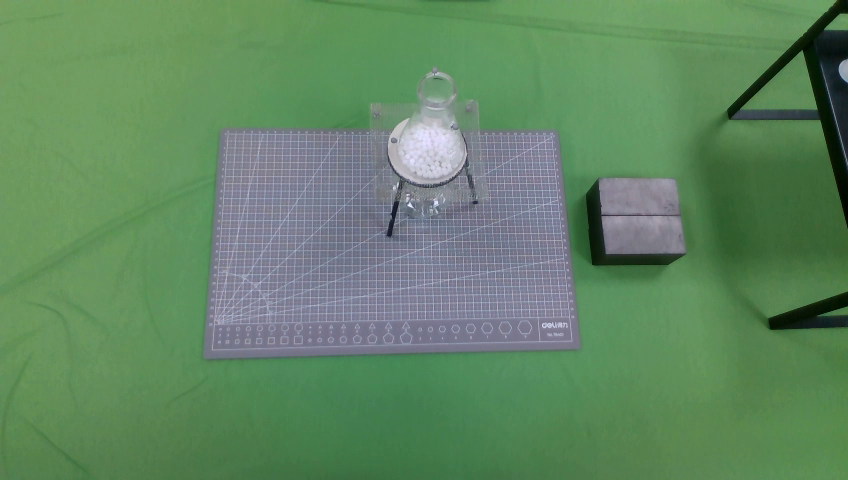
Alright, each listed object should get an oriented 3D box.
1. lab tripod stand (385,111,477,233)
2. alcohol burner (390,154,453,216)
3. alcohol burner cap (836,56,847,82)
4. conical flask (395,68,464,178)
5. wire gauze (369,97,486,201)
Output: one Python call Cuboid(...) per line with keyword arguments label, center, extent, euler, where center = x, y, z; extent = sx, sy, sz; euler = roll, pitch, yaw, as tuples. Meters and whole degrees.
Cuboid(label="lab tripod stand", center=(-0.003, -0.085, 0.723), extent=(0.148, 0.132, 0.147), euler=(1, 73, -2))
Cuboid(label="alcohol burner", center=(-0.003, -0.073, 0.730), extent=(0.078, 0.119, 0.077), euler=(1, 73, -2))
Cuboid(label="alcohol burner cap", center=(0.478, -0.196, 0.655), extent=(0.034, 0.048, 0.033), euler=(1, 74, -4))
Cuboid(label="conical flask", center=(0.009, -0.119, 0.603), extent=(0.075, 0.122, 0.075), euler=(1, 71, -3))
Cuboid(label="wire gauze", center=(0.003, -0.100, 0.659), extent=(0.125, 0.011, 0.121), euler=(-1, 74, -7))
